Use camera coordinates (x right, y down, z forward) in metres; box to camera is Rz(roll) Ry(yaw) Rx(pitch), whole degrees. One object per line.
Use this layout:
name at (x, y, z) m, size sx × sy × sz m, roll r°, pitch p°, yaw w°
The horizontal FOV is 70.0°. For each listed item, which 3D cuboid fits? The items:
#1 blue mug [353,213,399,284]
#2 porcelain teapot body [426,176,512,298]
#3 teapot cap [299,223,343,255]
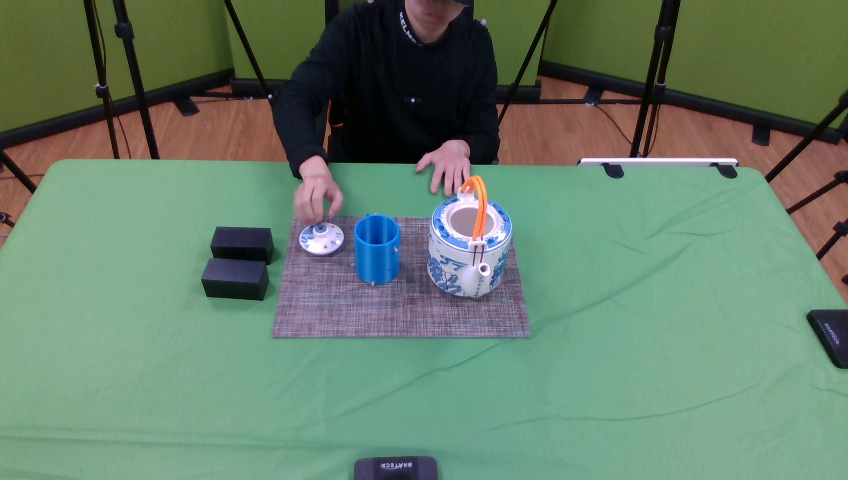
blue mug at (-0.093, 0.006, 1.123) m, size 0.082 × 0.106 × 0.115 m, roll -12°, pitch 48°, yaw -15°
porcelain teapot body at (0.085, 0.009, 1.051) m, size 0.145 × 0.226 × 0.204 m, roll -5°, pitch 47°, yaw -9°
teapot cap at (-0.199, -0.007, 1.172) m, size 0.085 × 0.044 × 0.084 m, roll -2°, pitch 47°, yaw 2°
